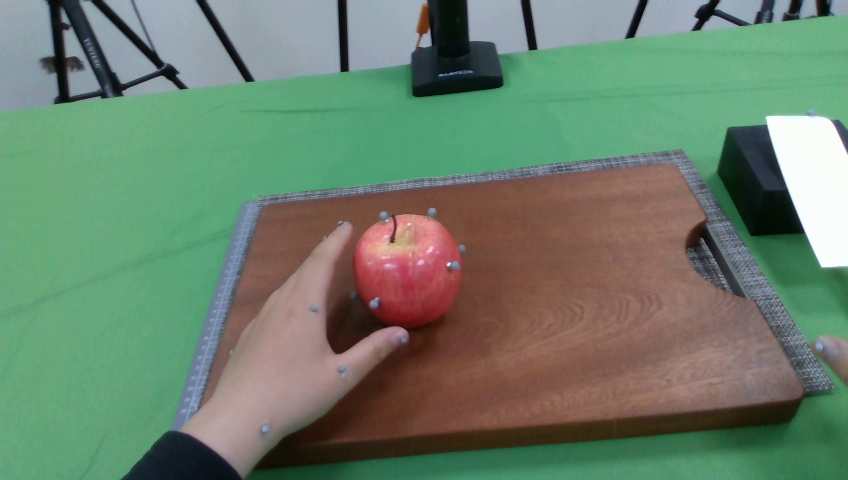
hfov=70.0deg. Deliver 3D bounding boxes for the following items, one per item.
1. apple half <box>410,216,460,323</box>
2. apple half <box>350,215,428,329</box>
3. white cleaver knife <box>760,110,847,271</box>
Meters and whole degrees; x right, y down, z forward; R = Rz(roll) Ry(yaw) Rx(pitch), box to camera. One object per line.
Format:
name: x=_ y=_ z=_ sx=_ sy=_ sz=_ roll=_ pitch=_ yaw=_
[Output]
apple half: x=0.011 y=0.021 z=0.447 sx=0.033 sy=0.082 sz=0.080 roll=-9 pitch=41 yaw=6
apple half: x=-0.027 y=0.026 z=0.450 sx=0.053 sy=0.075 sz=0.080 roll=-9 pitch=43 yaw=6
white cleaver knife: x=0.325 y=0.001 z=0.463 sx=0.066 sy=0.022 sz=0.283 roll=-5 pitch=52 yaw=8
